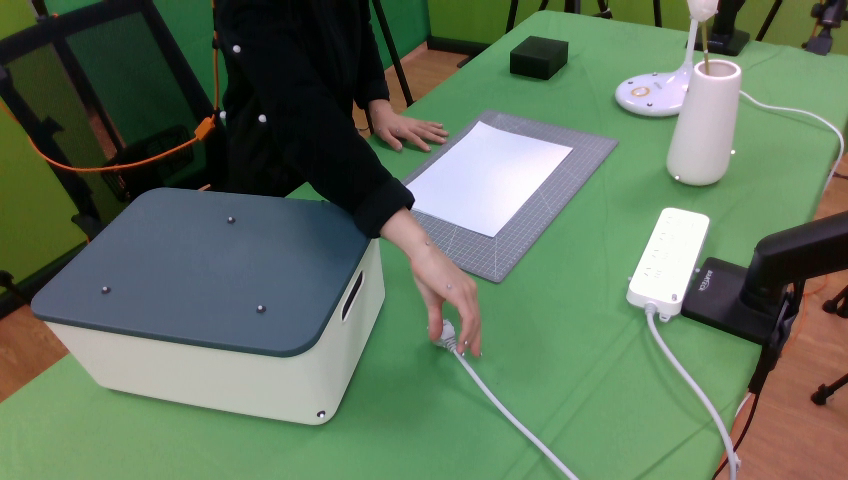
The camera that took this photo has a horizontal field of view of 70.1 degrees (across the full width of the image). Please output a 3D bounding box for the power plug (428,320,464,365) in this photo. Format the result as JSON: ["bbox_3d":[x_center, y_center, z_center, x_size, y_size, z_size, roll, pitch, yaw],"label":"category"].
[{"bbox_3d":[0.027,0.139,0.796,0.035,0.053,0.072,-8,61,-5],"label":"power plug"}]

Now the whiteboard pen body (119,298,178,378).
[{"bbox_3d":[-0.396,0.139,0.869,0.017,0.017,0.140,6,46,15],"label":"whiteboard pen body"}]

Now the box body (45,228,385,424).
[{"bbox_3d":[-0.254,0.081,0.807,0.363,0.161,0.253,5,42,14],"label":"box body"}]

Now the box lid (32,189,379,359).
[{"bbox_3d":[-0.260,0.025,0.758,0.370,0.015,0.263,5,41,14],"label":"box lid"}]

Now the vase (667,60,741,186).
[{"bbox_3d":[0.463,-0.189,0.994,0.098,0.201,0.097,-4,40,3],"label":"vase"}]

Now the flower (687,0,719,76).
[{"bbox_3d":[0.436,-0.242,0.934,0.038,0.364,0.043,-24,49,8],"label":"flower"}]

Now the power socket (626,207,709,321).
[{"bbox_3d":[0.360,0.026,0.886,0.072,0.033,0.227,17,46,27],"label":"power socket"}]

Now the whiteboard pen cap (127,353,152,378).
[{"bbox_3d":[-0.385,0.170,0.819,0.018,0.018,0.033,7,42,16],"label":"whiteboard pen cap"}]

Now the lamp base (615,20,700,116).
[{"bbox_3d":[0.484,-0.364,1.211,0.180,0.181,0.159,-15,41,-14],"label":"lamp base"}]

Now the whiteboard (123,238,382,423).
[{"bbox_3d":[-0.242,0.094,0.809,0.304,0.144,0.216,5,45,13],"label":"whiteboard"}]
